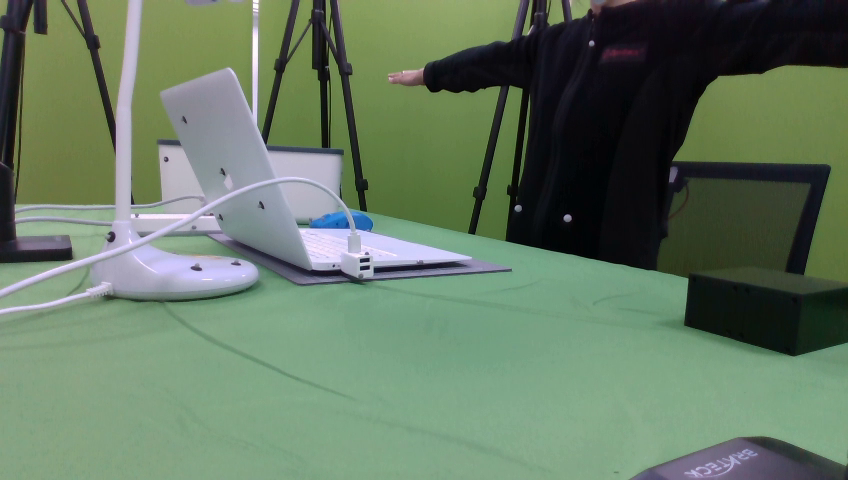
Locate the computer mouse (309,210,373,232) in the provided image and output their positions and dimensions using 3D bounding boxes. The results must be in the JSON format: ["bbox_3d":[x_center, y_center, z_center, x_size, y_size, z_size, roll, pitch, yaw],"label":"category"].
[{"bbox_3d":[-0.157,-0.034,1.139,0.118,0.041,0.062,-6,12,-28],"label":"computer mouse"}]

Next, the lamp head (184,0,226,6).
[{"bbox_3d":[-0.229,-0.320,0.627,0.112,0.112,0.123,6,-35,26],"label":"lamp head"}]

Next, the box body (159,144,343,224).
[{"bbox_3d":[-0.364,-0.128,1.337,0.365,0.160,0.253,1,7,-8],"label":"box body"}]

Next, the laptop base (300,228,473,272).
[{"bbox_3d":[-0.124,0.011,0.889,0.237,0.023,0.352,1,7,-35],"label":"laptop base"}]

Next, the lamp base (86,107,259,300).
[{"bbox_3d":[-0.254,-0.039,0.603,0.160,0.180,0.179,4,10,18],"label":"lamp base"}]

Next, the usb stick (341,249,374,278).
[{"bbox_3d":[-0.079,0.026,0.687,0.021,0.027,0.059,-7,9,-30],"label":"usb stick"}]

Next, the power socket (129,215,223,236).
[{"bbox_3d":[-0.397,-0.028,1.048,0.228,0.032,0.072,-3,7,-35],"label":"power socket"}]

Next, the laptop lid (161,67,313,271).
[{"bbox_3d":[-0.255,-0.090,0.782,0.013,0.242,0.355,-29,24,-28],"label":"laptop lid"}]

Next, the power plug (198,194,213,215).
[{"bbox_3d":[-0.386,-0.055,1.088,0.035,0.052,0.072,-2,7,-24],"label":"power plug"}]

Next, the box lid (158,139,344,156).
[{"bbox_3d":[-0.363,-0.201,1.328,0.372,0.015,0.262,2,7,-8],"label":"box lid"}]

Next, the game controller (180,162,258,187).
[{"bbox_3d":[-0.446,-0.142,1.307,0.156,0.051,0.096,-1,5,-35],"label":"game controller"}]
